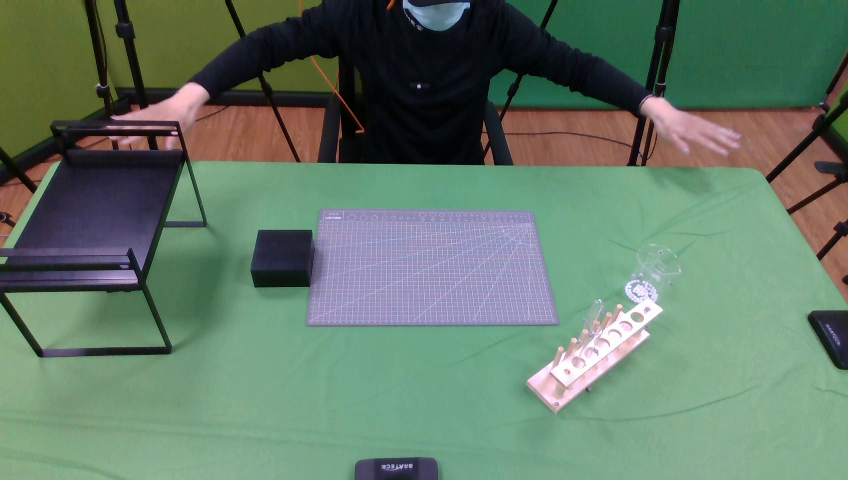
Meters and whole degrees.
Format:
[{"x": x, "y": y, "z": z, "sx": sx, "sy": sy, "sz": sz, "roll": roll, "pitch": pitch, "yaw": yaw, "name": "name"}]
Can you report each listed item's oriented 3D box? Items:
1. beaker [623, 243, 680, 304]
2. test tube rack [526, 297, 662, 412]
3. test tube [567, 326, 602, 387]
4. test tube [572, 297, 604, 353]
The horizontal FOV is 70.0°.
[{"x": 0.414, "y": 0.067, "z": 1.111, "sx": 0.083, "sy": 0.101, "sz": 0.074, "roll": 31, "pitch": 52, "yaw": 22, "name": "beaker"}, {"x": 0.284, "y": 0.176, "z": 1.007, "sx": 0.242, "sy": 0.085, "sz": 0.066, "roll": -29, "pitch": 54, "yaw": -27, "name": "test tube rack"}, {"x": 0.243, "y": 0.182, "z": 0.930, "sx": 0.017, "sy": 0.151, "sz": 0.017, "roll": 5, "pitch": 45, "yaw": -5, "name": "test tube"}, {"x": 0.263, "y": 0.141, "z": 0.977, "sx": 0.017, "sy": 0.151, "sz": 0.017, "roll": 2, "pitch": 47, "yaw": -2, "name": "test tube"}]
